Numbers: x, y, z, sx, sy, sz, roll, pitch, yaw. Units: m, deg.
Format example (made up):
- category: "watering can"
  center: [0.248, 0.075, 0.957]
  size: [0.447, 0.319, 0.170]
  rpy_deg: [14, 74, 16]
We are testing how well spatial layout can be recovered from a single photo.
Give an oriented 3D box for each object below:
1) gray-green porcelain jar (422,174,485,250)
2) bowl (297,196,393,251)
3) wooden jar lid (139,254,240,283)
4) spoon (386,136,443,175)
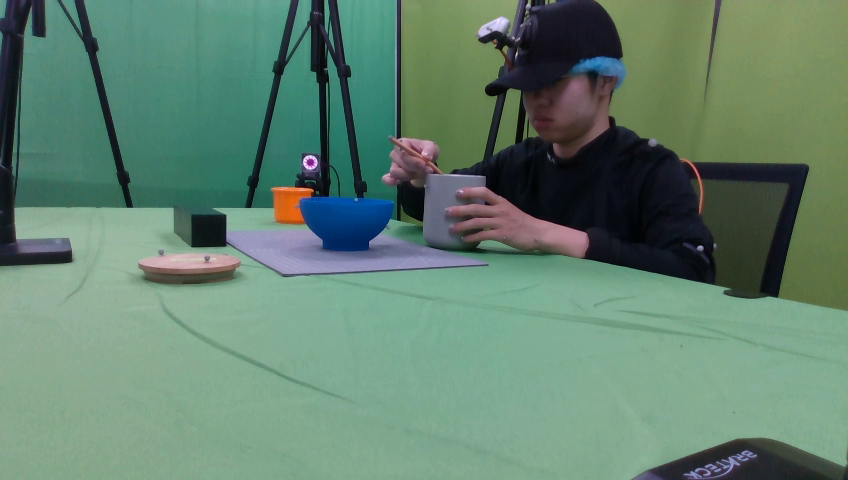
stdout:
- category: "gray-green porcelain jar"
  center: [0.050, -0.049, 1.040]
  size: [0.106, 0.126, 0.106]
  rpy_deg: [2, 8, 0]
- category: "bowl"
  center: [-0.125, -0.026, 0.957]
  size: [0.151, 0.077, 0.151]
  rpy_deg: [2, 7, 0]
- category: "wooden jar lid"
  center: [-0.269, 0.032, 0.697]
  size: [0.108, 0.020, 0.108]
  rpy_deg: [2, 5, 0]
- category: "spoon"
  center: [0.016, -0.117, 1.025]
  size: [0.194, 0.021, 0.041]
  rpy_deg: [40, 11, -10]
